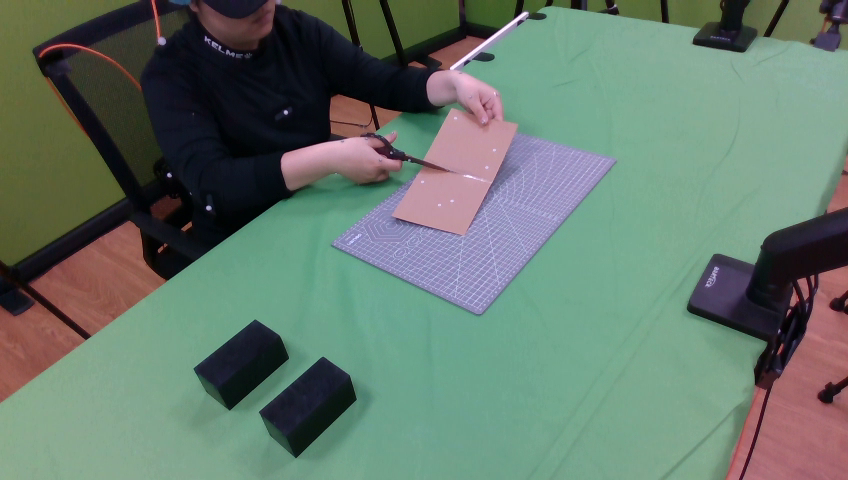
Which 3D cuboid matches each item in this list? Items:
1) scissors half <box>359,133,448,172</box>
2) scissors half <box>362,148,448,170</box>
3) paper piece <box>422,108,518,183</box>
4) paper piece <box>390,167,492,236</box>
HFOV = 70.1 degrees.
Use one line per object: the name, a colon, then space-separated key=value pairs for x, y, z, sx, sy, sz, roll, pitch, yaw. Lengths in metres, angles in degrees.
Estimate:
scissors half: x=-0.037 y=-0.155 z=1.089 sx=0.175 sy=0.040 sz=0.013 roll=23 pitch=64 yaw=4
scissors half: x=-0.035 y=-0.142 z=1.107 sx=0.174 sy=0.040 sz=0.013 roll=11 pitch=56 yaw=25
paper piece: x=0.086 y=-0.175 z=1.101 sx=0.135 sy=0.009 sz=0.138 roll=21 pitch=64 yaw=12
paper piece: x=0.031 y=-0.071 z=1.036 sx=0.135 sy=0.004 sz=0.135 roll=16 pitch=52 yaw=19
